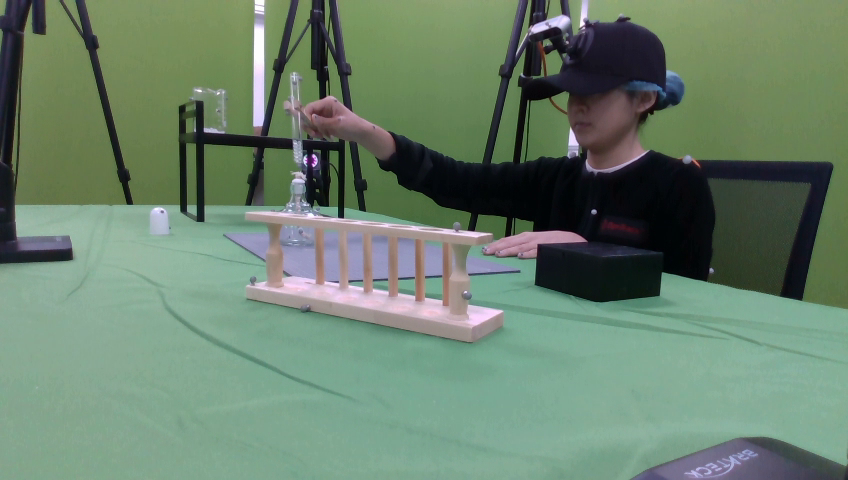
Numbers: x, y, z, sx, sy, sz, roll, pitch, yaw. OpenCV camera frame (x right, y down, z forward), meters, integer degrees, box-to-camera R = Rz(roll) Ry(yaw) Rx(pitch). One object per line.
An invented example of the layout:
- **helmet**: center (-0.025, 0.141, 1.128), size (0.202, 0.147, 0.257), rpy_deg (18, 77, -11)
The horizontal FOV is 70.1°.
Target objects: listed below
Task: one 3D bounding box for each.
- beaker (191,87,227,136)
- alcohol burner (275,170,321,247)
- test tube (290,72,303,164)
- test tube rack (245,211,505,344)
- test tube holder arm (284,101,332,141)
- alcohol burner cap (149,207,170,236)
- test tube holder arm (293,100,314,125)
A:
- **beaker**: center (-0.476, -0.284, 1.345), size (0.074, 0.100, 0.083), rpy_deg (-3, 10, -37)
- **alcohol burner**: center (-0.199, -0.050, 0.948), size (0.078, 0.119, 0.078), rpy_deg (1, 8, 0)
- **test tube**: center (-0.203, -0.194, 0.959), size (0.017, 0.150, 0.017), rpy_deg (-4, -10, 0)
- **test tube rack**: center (-0.049, 0.025, 0.547), size (0.241, 0.085, 0.067), rpy_deg (7, 8, 29)
- **test tube holder arm**: center (-0.193, -0.199, 1.028), size (0.013, 0.015, 0.179), rpy_deg (-3, -8, 12)
- **alcohol burner cap**: center (-0.445, -0.032, 1.020), size (0.034, 0.048, 0.034), rpy_deg (5, 8, 0)
- **test tube holder arm**: center (-0.195, -0.205, 0.984), size (0.010, 0.015, 0.088), rpy_deg (-3, -8, 4)
